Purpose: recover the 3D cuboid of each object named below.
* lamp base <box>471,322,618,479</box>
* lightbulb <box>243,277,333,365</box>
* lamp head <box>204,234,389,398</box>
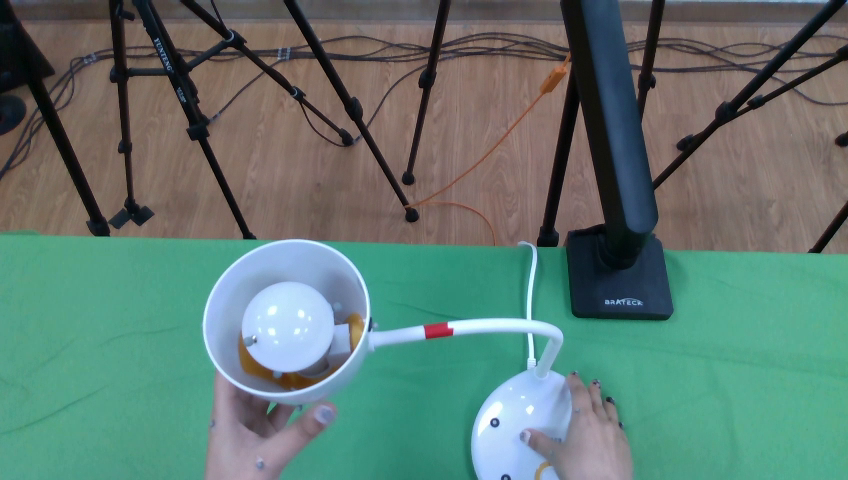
[{"bbox_3d":[0.126,0.169,0.605,0.161,0.182,0.177,-10,58,-4],"label":"lamp base"},{"bbox_3d":[-0.092,0.063,0.433,0.059,0.108,0.059,0,69,-1],"label":"lightbulb"},{"bbox_3d":[-0.087,0.069,0.457,0.112,0.124,0.111,-3,65,6],"label":"lamp head"}]
